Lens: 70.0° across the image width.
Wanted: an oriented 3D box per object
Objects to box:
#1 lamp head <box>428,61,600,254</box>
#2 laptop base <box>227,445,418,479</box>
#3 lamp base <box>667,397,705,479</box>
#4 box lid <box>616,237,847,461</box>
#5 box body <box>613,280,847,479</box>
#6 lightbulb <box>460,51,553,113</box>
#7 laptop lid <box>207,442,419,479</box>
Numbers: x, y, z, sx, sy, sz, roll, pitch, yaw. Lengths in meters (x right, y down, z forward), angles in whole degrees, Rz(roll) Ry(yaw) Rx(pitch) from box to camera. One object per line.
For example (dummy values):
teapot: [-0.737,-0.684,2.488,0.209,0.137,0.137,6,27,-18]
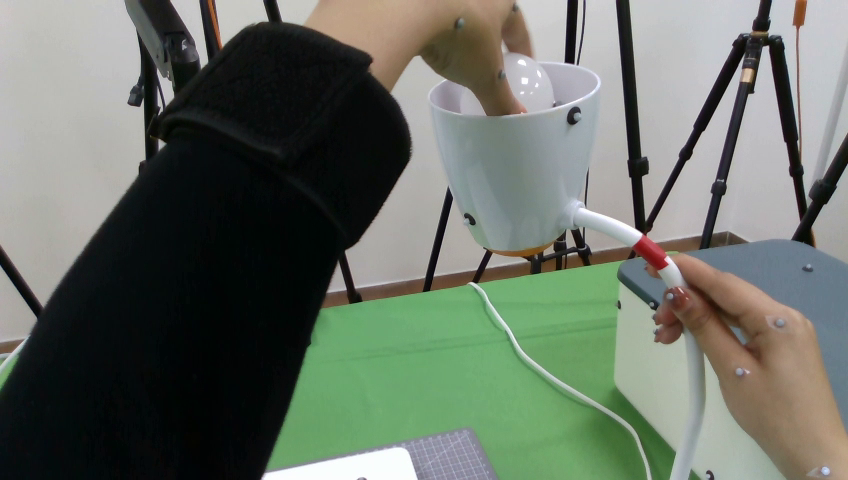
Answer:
lamp head: [0.067,-0.052,0.417,0.112,0.124,0.111,-10,27,5]
laptop base: [-0.159,0.287,0.492,0.355,0.023,0.233,-7,28,-13]
lamp base: [0.172,0.215,0.441,0.160,0.181,0.179,10,24,20]
box lid: [0.383,0.084,0.569,0.264,0.015,0.367,-7,25,-15]
box body: [0.385,0.153,0.599,0.255,0.161,0.360,-8,25,-15]
lightbulb: [0.056,-0.071,0.405,0.059,0.109,0.059,-7,37,6]
laptop lid: [-0.159,0.277,0.485,0.357,0.013,0.239,-6,27,-12]
